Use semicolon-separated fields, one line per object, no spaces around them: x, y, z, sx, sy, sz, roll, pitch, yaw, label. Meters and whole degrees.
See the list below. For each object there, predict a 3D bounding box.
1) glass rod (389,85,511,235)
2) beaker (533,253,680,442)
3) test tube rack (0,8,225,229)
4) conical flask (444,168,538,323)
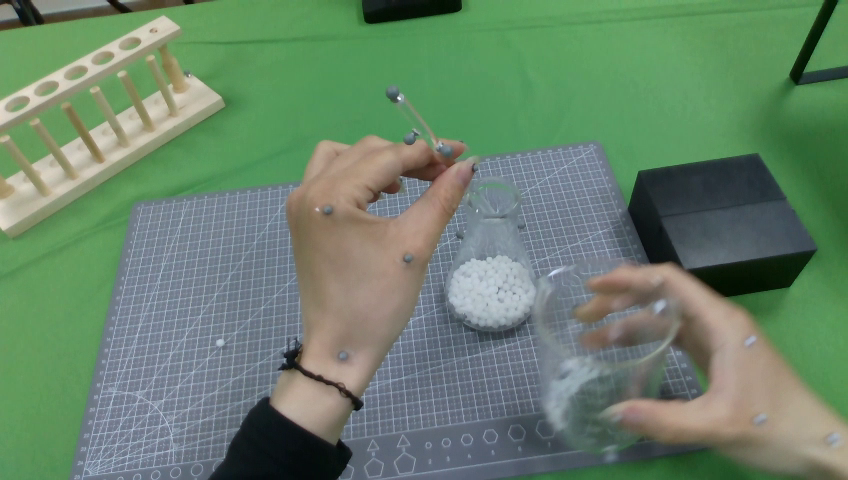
0.024;-0.036;0.358;0.008;0.201;0.008;-7;69;21;glass rod
0.101;0.067;0.361;0.074;0.101;0.083;-36;49;-23;beaker
-0.327;-0.124;0.593;0.242;0.086;0.066;-40;60;-22;test tube rack
0.049;0.002;0.441;0.075;0.123;0.074;-2;54;4;conical flask
